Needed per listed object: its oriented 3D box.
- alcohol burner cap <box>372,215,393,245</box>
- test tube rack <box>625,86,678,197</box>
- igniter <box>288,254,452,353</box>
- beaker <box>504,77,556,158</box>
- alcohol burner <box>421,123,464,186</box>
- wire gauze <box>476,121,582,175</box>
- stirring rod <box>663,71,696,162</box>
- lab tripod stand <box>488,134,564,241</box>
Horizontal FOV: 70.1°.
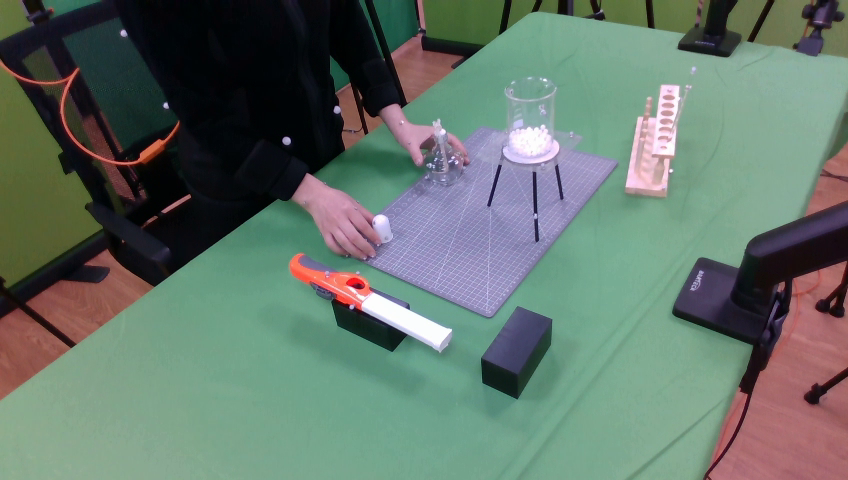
[{"bbox_3d":[-0.070,-0.019,0.989,0.034,0.048,0.033,-4,40,4],"label":"alcohol burner cap"},{"bbox_3d":[0.412,-0.184,1.088,0.066,0.085,0.242,9,43,18],"label":"test tube rack"},{"bbox_3d":[-0.084,0.079,0.818,0.274,0.025,0.057,23,46,27],"label":"igniter"},{"bbox_3d":[0.160,-0.181,0.900,0.084,0.101,0.073,-32,46,-27],"label":"beaker"},{"bbox_3d":[0.032,-0.158,1.083,0.078,0.119,0.077,-4,42,4],"label":"alcohol burner"},{"bbox_3d":[0.162,-0.142,0.929,0.120,0.011,0.125,19,49,32],"label":"wire gauze"},{"bbox_3d":[0.410,-0.195,0.981,0.014,0.177,0.006,11,50,13],"label":"stirring rod"},{"bbox_3d":[0.168,-0.092,0.972,0.148,0.132,0.147,-5,41,5],"label":"lab tripod stand"}]
